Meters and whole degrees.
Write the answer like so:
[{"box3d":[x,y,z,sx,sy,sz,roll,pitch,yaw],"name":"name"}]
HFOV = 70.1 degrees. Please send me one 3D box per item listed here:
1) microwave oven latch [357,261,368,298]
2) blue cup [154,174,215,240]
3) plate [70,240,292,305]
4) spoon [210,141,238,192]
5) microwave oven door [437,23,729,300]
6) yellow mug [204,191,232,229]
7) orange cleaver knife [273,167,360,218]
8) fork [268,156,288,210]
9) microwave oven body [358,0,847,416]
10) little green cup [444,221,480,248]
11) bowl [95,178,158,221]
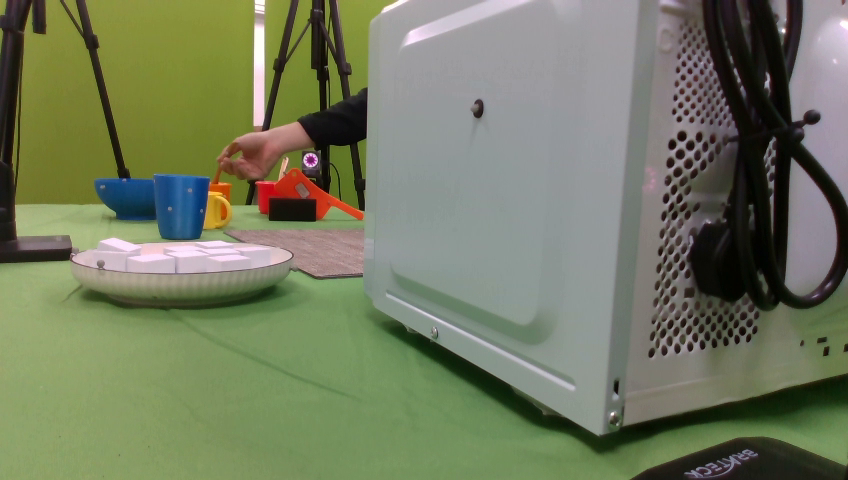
[{"box3d":[-0.019,0.033,0.529,0.079,0.029,0.030,0,7,-25],"name":"microwave oven latch"},{"box3d":[-0.391,-0.053,0.978,0.093,0.100,0.092,4,6,0],"name":"blue cup"},{"box3d":[-0.242,0.031,0.618,0.208,0.039,0.207,2,8,0],"name":"plate"},{"box3d":[-0.424,-0.140,1.255,0.042,0.193,0.021,-4,54,-41],"name":"spoon"},{"box3d":[0.181,-0.072,0.621,0.358,0.243,0.039,-2,9,-29],"name":"microwave oven door"},{"box3d":[-0.415,-0.057,1.131,0.130,0.064,0.100,6,8,16],"name":"yellow mug"},{"box3d":[-0.238,-0.091,1.381,0.212,0.077,0.012,31,0,-19],"name":"orange cleaver knife"},{"box3d":[-0.361,-0.144,1.507,0.028,0.018,0.207,1,49,0],"name":"fork"},{"box3d":[0.211,-0.047,0.474,0.444,0.260,0.324,-1,7,-28],"name":"microwave oven body"},{"box3d":[0.064,-0.009,1.034,0.061,0.038,0.061,2,12,0],"name":"little green cup"},{"box3d":[-0.576,-0.081,1.217,0.151,0.077,0.151,3,8,0],"name":"bowl"}]
